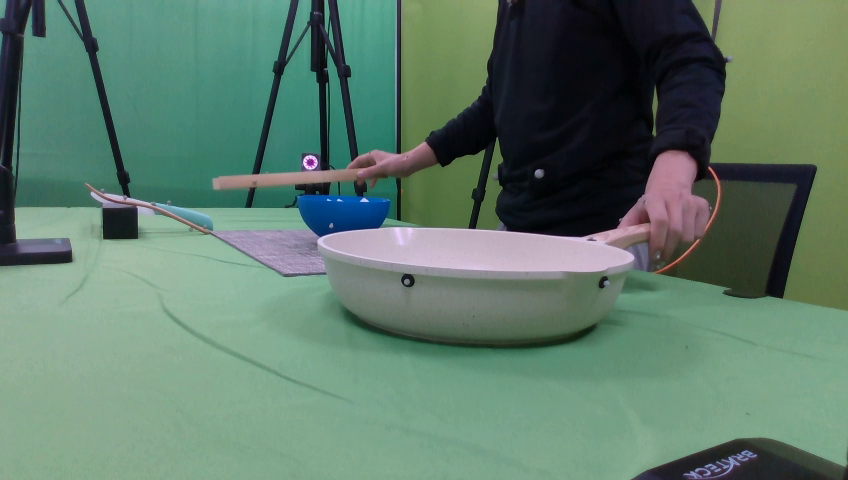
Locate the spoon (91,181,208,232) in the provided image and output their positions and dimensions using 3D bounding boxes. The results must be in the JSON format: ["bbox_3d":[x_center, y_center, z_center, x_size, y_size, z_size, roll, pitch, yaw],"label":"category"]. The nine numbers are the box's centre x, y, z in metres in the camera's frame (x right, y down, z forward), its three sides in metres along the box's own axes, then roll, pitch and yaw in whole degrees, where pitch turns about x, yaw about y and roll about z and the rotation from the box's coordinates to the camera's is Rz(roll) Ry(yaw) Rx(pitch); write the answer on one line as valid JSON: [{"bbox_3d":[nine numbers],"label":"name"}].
[{"bbox_3d":[-0.461,-0.053,1.023,0.195,0.021,0.041,21,22,-24],"label":"spoon"}]

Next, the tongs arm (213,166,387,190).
[{"bbox_3d":[-0.277,-0.141,1.378,0.386,0.026,0.050,-7,6,-19],"label":"tongs arm"}]

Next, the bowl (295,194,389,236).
[{"bbox_3d":[-0.132,-0.032,0.980,0.151,0.077,0.151,2,7,0],"label":"bowl"}]

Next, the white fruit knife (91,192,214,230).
[{"bbox_3d":[-0.477,-0.055,1.077,0.208,0.027,0.016,15,-5,-30],"label":"white fruit knife"}]

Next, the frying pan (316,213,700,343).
[{"bbox_3d":[0.133,0.013,0.629,0.490,0.102,0.305,-12,14,-30],"label":"frying pan"}]

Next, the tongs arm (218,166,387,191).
[{"bbox_3d":[-0.246,-0.134,1.308,0.389,0.028,0.028,-9,4,-31],"label":"tongs arm"}]
